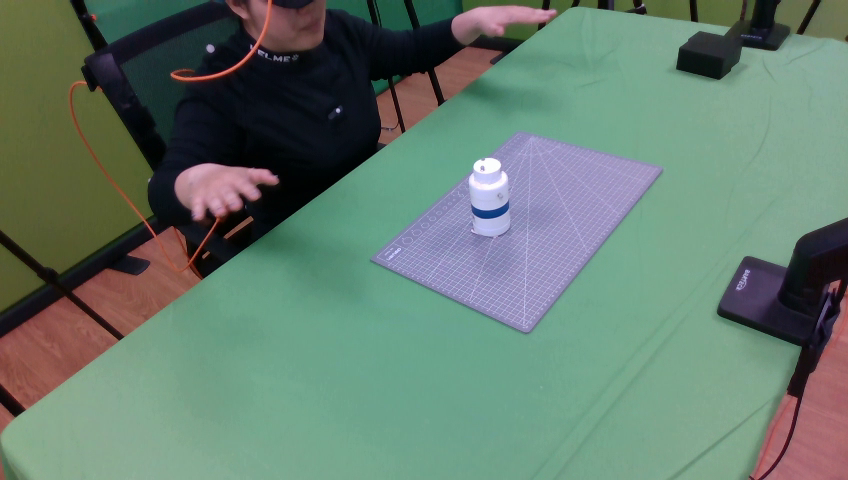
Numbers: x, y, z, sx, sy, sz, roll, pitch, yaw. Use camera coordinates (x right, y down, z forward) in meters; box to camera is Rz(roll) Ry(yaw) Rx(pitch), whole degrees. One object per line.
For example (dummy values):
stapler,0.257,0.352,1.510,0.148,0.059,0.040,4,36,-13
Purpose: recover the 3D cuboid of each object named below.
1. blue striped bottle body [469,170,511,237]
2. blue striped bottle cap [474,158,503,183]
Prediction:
blue striped bottle body,0.105,-0.069,0.963,0.063,0.121,0.063,-6,40,5
blue striped bottle cap,0.099,-0.108,0.931,0.044,0.021,0.044,-6,40,5
